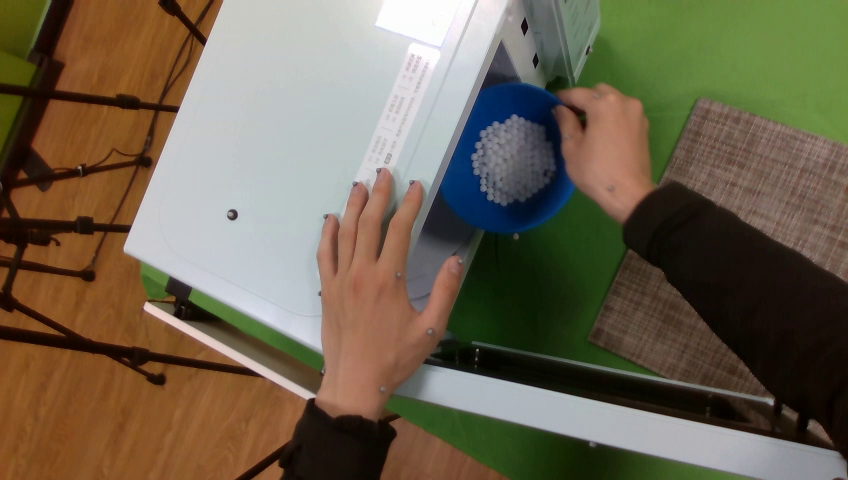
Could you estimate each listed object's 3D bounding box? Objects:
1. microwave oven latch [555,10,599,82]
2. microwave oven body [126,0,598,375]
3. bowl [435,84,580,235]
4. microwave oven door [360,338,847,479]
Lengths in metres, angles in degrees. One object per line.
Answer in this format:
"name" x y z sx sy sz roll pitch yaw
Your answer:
"microwave oven latch" 0.174 -0.224 0.691 0.030 0.029 0.079 24 93 18
"microwave oven body" -0.053 -0.126 0.652 0.324 0.261 0.441 23 92 18
"bowl" 0.089 -0.079 0.632 0.151 0.077 0.151 0 90 18
"microwave oven door" 0.148 0.144 0.555 0.354 0.245 0.039 7 86 19
